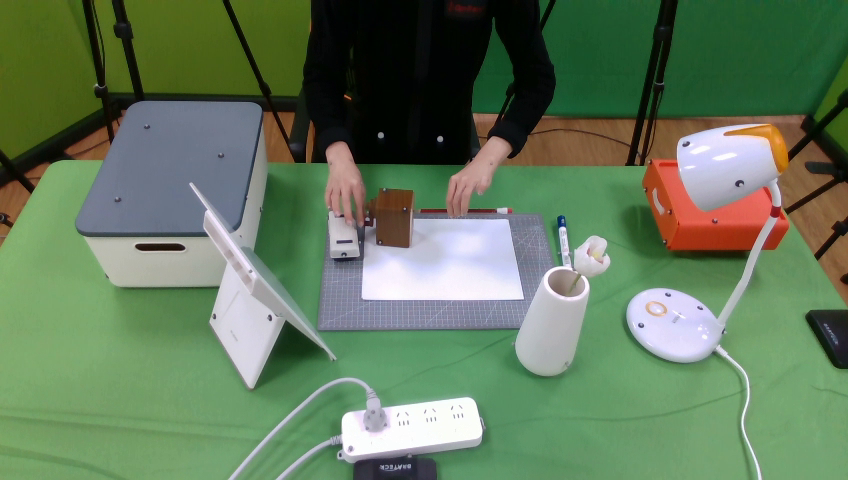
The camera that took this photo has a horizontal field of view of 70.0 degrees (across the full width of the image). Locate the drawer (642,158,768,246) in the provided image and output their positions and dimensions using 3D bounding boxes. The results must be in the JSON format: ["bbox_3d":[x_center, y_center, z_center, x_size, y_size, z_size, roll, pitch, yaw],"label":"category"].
[{"bbox_3d":[0.565,-0.076,1.211,0.212,0.073,0.193,2,45,-2],"label":"drawer"}]

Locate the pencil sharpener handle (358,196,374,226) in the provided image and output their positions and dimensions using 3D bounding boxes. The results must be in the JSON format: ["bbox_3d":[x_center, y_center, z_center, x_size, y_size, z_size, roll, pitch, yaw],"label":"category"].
[{"bbox_3d":[-0.111,-0.055,1.161,0.030,0.068,0.036,5,40,1],"label":"pencil sharpener handle"}]

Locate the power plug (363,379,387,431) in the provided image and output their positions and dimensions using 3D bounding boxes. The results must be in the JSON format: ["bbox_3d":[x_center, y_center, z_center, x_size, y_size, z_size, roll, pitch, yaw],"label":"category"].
[{"bbox_3d":[-0.072,0.252,0.910,0.035,0.053,0.072,3,45,-1],"label":"power plug"}]

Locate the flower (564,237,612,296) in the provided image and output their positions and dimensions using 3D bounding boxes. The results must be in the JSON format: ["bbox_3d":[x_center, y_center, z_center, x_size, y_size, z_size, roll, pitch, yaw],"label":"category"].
[{"bbox_3d":[0.206,0.088,0.893,0.038,0.363,0.044,-17,67,-9],"label":"flower"}]

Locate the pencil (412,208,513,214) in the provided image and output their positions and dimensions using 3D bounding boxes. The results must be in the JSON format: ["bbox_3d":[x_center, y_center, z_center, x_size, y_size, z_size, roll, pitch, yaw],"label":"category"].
[{"bbox_3d":[0.071,-0.056,1.149,0.194,0.012,0.012,0,46,3],"label":"pencil"}]

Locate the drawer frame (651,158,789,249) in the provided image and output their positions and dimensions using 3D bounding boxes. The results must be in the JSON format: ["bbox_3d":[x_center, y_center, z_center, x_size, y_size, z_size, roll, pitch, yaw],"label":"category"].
[{"bbox_3d":[0.571,-0.075,1.214,0.214,0.083,0.200,0,45,-1],"label":"drawer frame"}]

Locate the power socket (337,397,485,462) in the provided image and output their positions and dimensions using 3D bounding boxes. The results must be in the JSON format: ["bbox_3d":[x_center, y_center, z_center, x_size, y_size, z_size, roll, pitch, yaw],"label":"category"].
[{"bbox_3d":[-0.018,0.285,0.915,0.227,0.033,0.071,-5,46,-8],"label":"power socket"}]

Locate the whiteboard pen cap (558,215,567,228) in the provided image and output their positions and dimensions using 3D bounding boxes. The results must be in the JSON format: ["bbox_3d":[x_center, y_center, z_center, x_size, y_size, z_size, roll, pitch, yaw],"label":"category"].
[{"bbox_3d":[0.285,-0.035,1.246,0.018,0.018,0.033,4,52,-1],"label":"whiteboard pen cap"}]

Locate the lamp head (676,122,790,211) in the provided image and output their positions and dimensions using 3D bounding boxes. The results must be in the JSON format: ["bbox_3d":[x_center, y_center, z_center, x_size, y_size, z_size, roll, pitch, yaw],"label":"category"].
[{"bbox_3d":[0.423,-0.104,0.819,0.122,0.113,0.112,-13,33,40],"label":"lamp head"}]

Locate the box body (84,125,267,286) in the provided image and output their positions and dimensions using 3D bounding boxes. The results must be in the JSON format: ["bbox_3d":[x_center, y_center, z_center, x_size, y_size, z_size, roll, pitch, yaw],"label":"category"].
[{"bbox_3d":[-0.446,-0.088,1.150,0.254,0.161,0.361,-1,46,-5],"label":"box body"}]

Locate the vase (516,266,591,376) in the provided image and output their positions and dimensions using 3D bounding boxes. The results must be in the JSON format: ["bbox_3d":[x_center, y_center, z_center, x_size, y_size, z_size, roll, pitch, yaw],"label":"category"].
[{"bbox_3d":[0.208,0.132,0.964,0.098,0.201,0.097,3,46,-3],"label":"vase"}]

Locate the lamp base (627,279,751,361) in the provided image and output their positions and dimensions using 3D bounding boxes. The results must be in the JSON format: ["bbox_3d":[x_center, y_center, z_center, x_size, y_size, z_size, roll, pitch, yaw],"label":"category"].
[{"bbox_3d":[0.459,0.100,1.027,0.178,0.181,0.160,27,51,17],"label":"lamp base"}]

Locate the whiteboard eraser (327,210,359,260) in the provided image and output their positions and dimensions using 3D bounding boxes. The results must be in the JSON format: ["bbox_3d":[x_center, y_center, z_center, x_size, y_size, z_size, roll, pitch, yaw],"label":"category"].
[{"bbox_3d":[-0.158,-0.009,1.177,0.055,0.042,0.112,-6,47,-7],"label":"whiteboard eraser"}]

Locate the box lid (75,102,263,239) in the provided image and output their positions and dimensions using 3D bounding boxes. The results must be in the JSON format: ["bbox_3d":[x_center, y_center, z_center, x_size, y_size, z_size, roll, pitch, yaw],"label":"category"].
[{"bbox_3d":[-0.443,-0.138,1.094,0.263,0.015,0.369,-1,47,-5],"label":"box lid"}]

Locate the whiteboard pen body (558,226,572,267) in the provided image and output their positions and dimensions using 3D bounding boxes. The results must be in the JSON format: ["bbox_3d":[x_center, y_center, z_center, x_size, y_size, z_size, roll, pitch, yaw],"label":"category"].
[{"bbox_3d":[0.280,0.010,1.208,0.017,0.017,0.140,3,50,-1],"label":"whiteboard pen body"}]

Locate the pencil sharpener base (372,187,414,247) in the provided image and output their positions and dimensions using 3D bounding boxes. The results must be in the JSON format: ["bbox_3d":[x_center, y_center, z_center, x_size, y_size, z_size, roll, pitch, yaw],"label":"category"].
[{"bbox_3d":[-0.061,-0.043,1.171,0.077,0.107,0.061,5,46,1],"label":"pencil sharpener base"}]

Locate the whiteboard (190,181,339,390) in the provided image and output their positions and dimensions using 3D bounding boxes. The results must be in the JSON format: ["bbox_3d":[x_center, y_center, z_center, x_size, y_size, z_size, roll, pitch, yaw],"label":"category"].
[{"bbox_3d":[-0.292,0.096,0.929,0.144,0.307,0.216,-37,57,-10],"label":"whiteboard"}]
